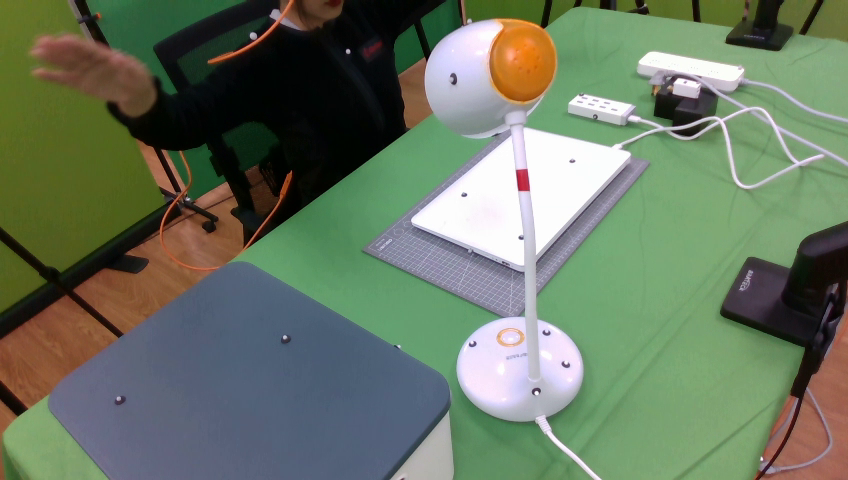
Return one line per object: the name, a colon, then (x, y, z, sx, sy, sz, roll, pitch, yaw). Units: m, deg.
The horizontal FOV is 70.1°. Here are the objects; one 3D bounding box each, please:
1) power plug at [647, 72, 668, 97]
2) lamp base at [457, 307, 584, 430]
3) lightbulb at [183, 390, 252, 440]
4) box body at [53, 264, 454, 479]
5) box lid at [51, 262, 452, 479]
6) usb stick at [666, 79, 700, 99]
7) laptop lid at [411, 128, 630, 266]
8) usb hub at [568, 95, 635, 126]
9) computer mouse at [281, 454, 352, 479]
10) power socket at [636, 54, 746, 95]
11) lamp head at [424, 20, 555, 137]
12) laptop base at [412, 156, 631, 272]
power plug: (0.494, -0.320, 1.260, 0.073, 0.052, 0.035, 1, 19, -40)
lamp base: (0.115, 0.108, 0.713, 0.161, 0.181, 0.178, -17, 43, -8)
lightbulb: (-0.262, 0.217, 0.753, 0.107, 0.060, 0.059, -10, 35, 33)
box body: (-0.173, 0.212, 0.659, 0.361, 0.161, 0.255, 23, 50, 33)
box lid: (-0.182, 0.156, 0.610, 0.368, 0.015, 0.264, 23, 49, 34)
usb stick: (0.492, -0.288, 1.152, 0.058, 0.027, 0.021, 20, 50, 34)
laptop lid: (0.172, -0.093, 1.049, 0.239, 0.013, 0.358, 24, 50, 36)
usb hub: (0.360, -0.264, 1.228, 0.124, 0.025, 0.049, 25, 49, 34)
computer mouse: (-0.110, 0.278, 0.656, 0.116, 0.041, 0.063, 20, 51, 36)
power socket: (0.564, -0.357, 1.293, 0.225, 0.033, 0.072, 24, 51, 33)
lamp head: (0.069, -0.153, 0.572, 0.113, 0.112, 0.122, -22, 16, -14)
laptop base: (0.176, -0.084, 1.055, 0.233, 0.023, 0.355, 21, 48, 36)
